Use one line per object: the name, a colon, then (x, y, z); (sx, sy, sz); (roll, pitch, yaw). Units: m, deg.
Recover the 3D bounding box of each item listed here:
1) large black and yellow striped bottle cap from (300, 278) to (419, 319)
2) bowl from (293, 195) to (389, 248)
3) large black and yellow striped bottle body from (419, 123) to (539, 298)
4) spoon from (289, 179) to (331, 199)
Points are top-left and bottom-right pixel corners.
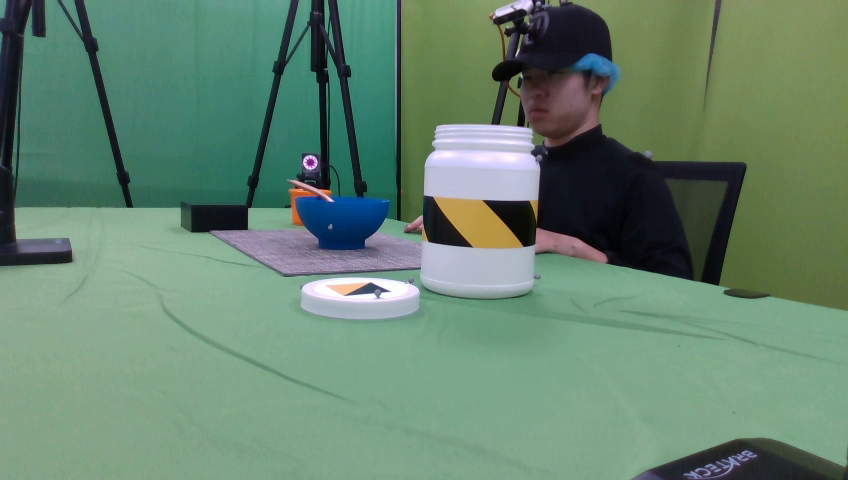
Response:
large black and yellow striped bottle cap: (-0.062, 0.055, 0.588); (0.115, 0.019, 0.115); (1, 6, 0)
bowl: (-0.132, -0.030, 0.961); (0.151, 0.077, 0.151); (2, 7, 0)
large black and yellow striped bottle body: (0.062, -0.036, 0.683); (0.131, 0.184, 0.130); (2, 7, 0)
spoon: (-0.167, -0.071, 1.002); (0.042, 0.021, 0.192); (-8, 31, -44)
